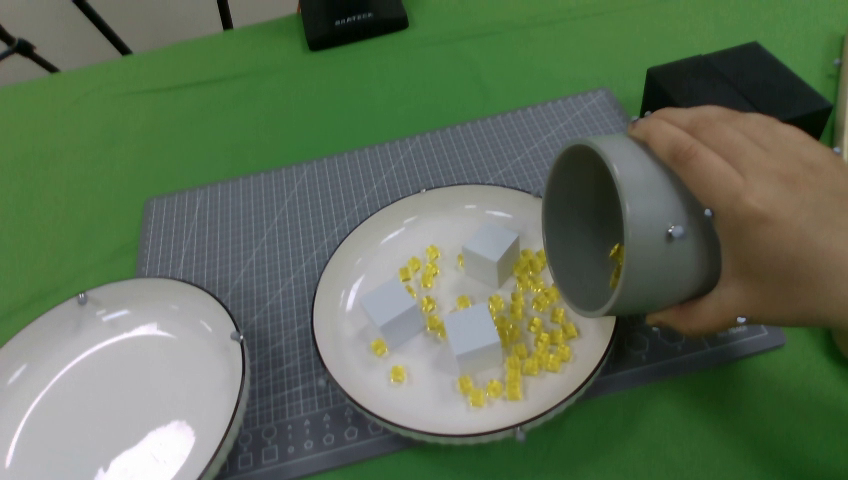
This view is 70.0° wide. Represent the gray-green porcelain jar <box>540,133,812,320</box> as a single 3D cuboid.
[{"bbox_3d":[0.149,-0.010,0.365,0.127,0.106,0.104,-5,47,-13],"label":"gray-green porcelain jar"}]

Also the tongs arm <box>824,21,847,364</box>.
[{"bbox_3d":[0.337,-0.068,0.478,0.028,0.028,0.385,15,54,19],"label":"tongs arm"}]

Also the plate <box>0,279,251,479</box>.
[{"bbox_3d":[-0.213,0.118,0.403,0.209,0.038,0.207,-6,49,7],"label":"plate"}]

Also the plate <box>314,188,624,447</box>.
[{"bbox_3d":[0.030,0.047,0.422,0.207,0.039,0.205,-5,48,6],"label":"plate"}]
